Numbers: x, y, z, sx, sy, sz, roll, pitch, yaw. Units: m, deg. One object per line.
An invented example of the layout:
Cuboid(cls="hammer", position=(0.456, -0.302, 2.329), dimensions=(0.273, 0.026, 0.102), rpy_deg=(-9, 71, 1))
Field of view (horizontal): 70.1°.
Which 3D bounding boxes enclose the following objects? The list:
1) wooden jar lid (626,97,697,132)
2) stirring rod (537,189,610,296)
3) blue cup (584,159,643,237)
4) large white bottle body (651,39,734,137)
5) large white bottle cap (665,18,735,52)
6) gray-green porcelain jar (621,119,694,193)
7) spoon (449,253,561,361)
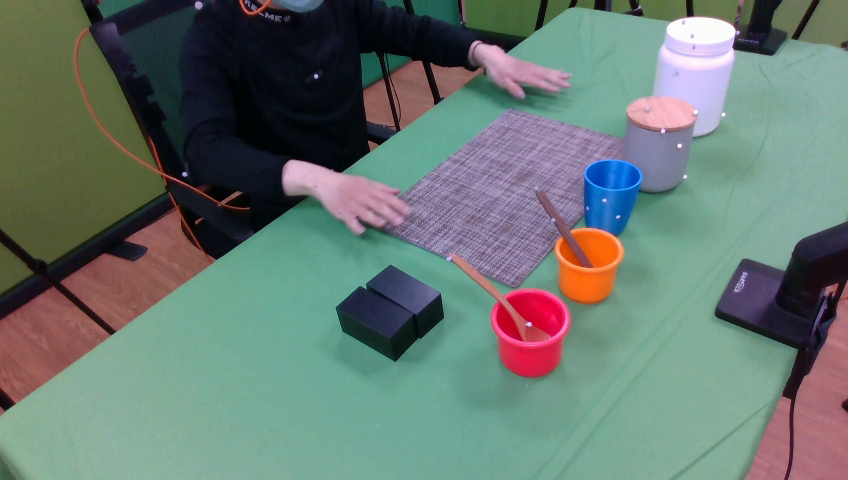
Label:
Cuboid(cls="wooden jar lid", position=(0.381, -0.198, 0.976), dimensions=(0.108, 0.021, 0.108), rpy_deg=(-2, 40, 3))
Cuboid(cls="stirring rod", position=(0.211, 0.003, 0.855), dimensions=(0.014, 0.006, 0.176), rpy_deg=(-32, 88, -30))
Cuboid(cls="blue cup", position=(0.289, -0.061, 0.944), dimensions=(0.092, 0.100, 0.092), rpy_deg=(-3, 40, 3))
Cuboid(cls="large white bottle body", position=(0.496, -0.300, 1.126), dimensions=(0.130, 0.185, 0.130), rpy_deg=(-4, 41, 4))
Cuboid(cls="large white bottle cap", position=(0.488, -0.364, 1.071), dimensions=(0.115, 0.018, 0.114), rpy_deg=(-4, 41, 4))
Cuboid(cls="gray-green porcelain jar", position=(0.389, -0.152, 1.016), dimensions=(0.106, 0.127, 0.105), rpy_deg=(-4, 40, 4))
Cuboid(cls="spoon", position=(0.103, 0.083, 0.770), dimensions=(0.194, 0.021, 0.042), rpy_deg=(47, 51, -7))
